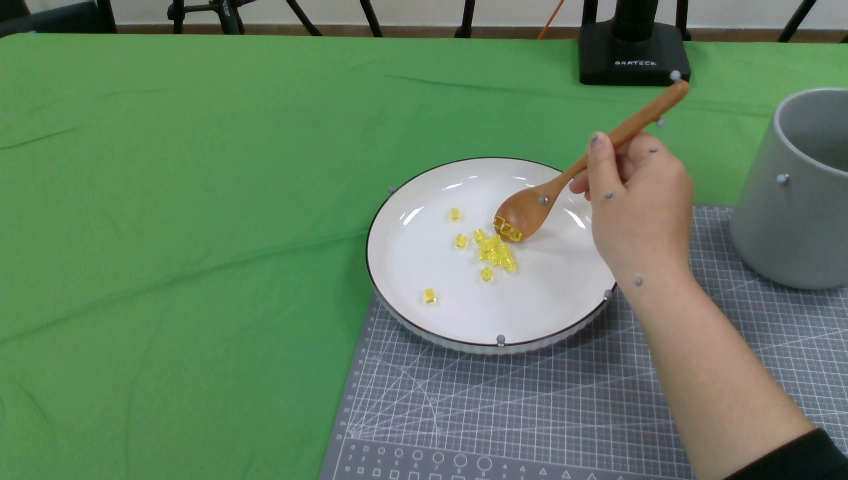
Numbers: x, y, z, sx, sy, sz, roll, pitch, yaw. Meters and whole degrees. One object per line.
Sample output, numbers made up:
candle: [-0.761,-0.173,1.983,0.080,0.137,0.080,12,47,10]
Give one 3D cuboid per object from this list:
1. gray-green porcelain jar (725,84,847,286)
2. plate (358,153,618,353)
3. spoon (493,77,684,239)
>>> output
gray-green porcelain jar: [0.298,-0.036,0.461,0.106,0.128,0.105,-3,48,3]
plate: [0.051,0.009,0.502,0.207,0.039,0.205,-2,48,3]
spoon: [0.117,-0.057,0.463,0.022,0.194,0.041,-3,64,-35]
